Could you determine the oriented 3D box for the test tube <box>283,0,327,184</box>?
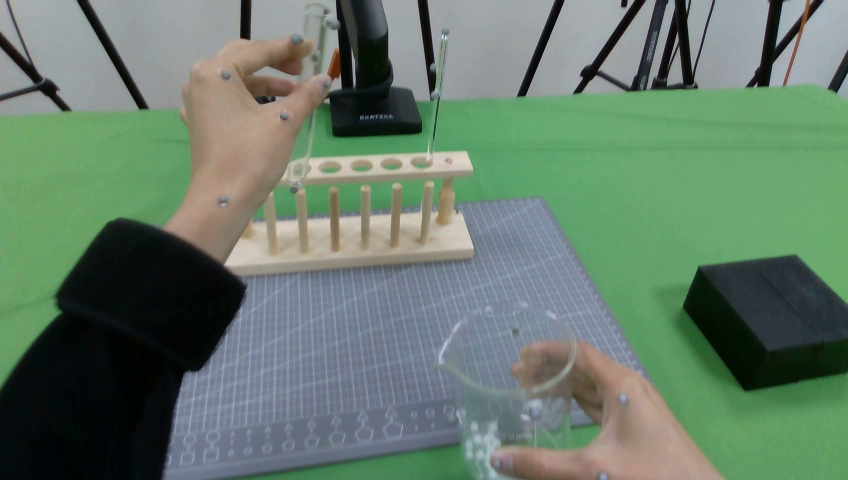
[{"bbox_3d":[-0.085,-0.095,0.424,0.017,0.151,0.017,10,48,-10],"label":"test tube"}]

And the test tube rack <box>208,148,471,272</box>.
[{"bbox_3d":[-0.076,-0.030,0.586,0.243,0.086,0.066,-4,40,-9],"label":"test tube rack"}]

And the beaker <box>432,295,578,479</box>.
[{"bbox_3d":[0.051,0.096,0.373,0.084,0.101,0.073,-9,34,-2],"label":"beaker"}]

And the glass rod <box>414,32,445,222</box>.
[{"bbox_3d":[0.003,-0.095,0.564,0.008,0.201,0.008,5,40,-4],"label":"glass rod"}]
